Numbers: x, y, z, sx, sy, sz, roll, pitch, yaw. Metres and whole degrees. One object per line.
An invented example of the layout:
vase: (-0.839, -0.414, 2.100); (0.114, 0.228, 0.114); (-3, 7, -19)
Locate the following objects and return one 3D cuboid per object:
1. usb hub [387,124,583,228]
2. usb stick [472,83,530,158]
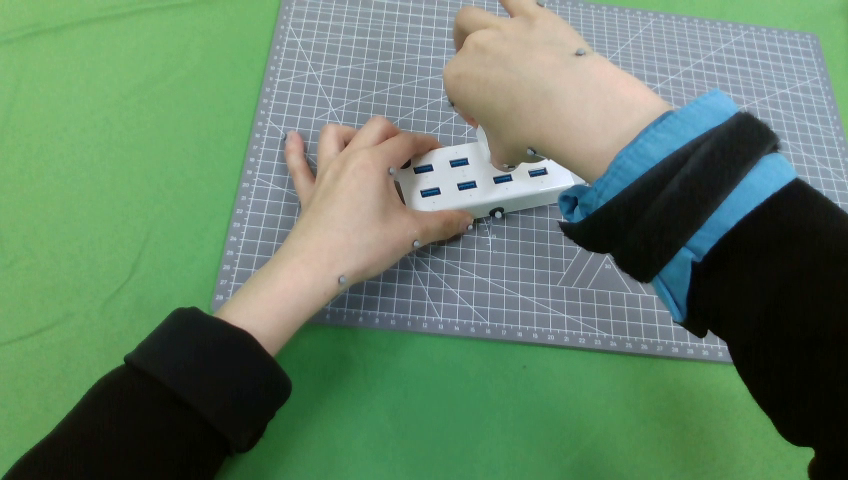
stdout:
usb hub: (0.041, -0.045, 0.412); (0.125, 0.025, 0.049); (-11, 67, -12)
usb stick: (0.047, -0.072, 0.391); (0.021, 0.059, 0.027); (-13, 65, -16)
